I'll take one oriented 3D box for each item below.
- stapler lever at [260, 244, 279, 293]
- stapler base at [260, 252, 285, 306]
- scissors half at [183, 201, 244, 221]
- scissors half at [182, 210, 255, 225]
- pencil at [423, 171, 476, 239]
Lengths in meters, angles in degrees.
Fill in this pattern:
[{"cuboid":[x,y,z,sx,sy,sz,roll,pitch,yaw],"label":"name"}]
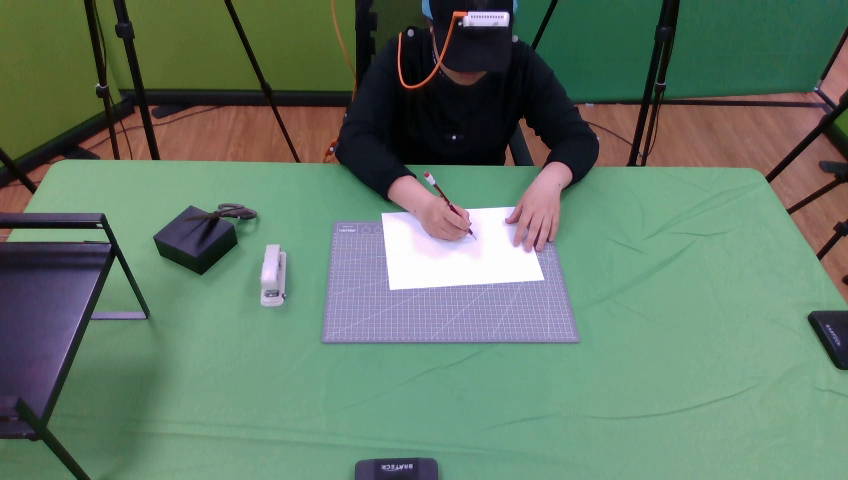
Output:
[{"cuboid":[-0.278,0.045,1.096,0.027,0.040,0.117,-1,44,-9],"label":"stapler lever"},{"cuboid":[-0.279,0.064,1.113,0.041,0.024,0.129,-1,44,-9],"label":"stapler base"},{"cuboid":[-0.405,-0.054,1.163,0.040,0.013,0.175,30,18,7],"label":"scissors half"},{"cuboid":[-0.389,-0.042,1.158,0.040,0.013,0.175,42,21,22],"label":"scissors half"},{"cuboid":[0.053,-0.063,1.160,0.012,0.195,0.012,-25,38,21],"label":"pencil"}]
